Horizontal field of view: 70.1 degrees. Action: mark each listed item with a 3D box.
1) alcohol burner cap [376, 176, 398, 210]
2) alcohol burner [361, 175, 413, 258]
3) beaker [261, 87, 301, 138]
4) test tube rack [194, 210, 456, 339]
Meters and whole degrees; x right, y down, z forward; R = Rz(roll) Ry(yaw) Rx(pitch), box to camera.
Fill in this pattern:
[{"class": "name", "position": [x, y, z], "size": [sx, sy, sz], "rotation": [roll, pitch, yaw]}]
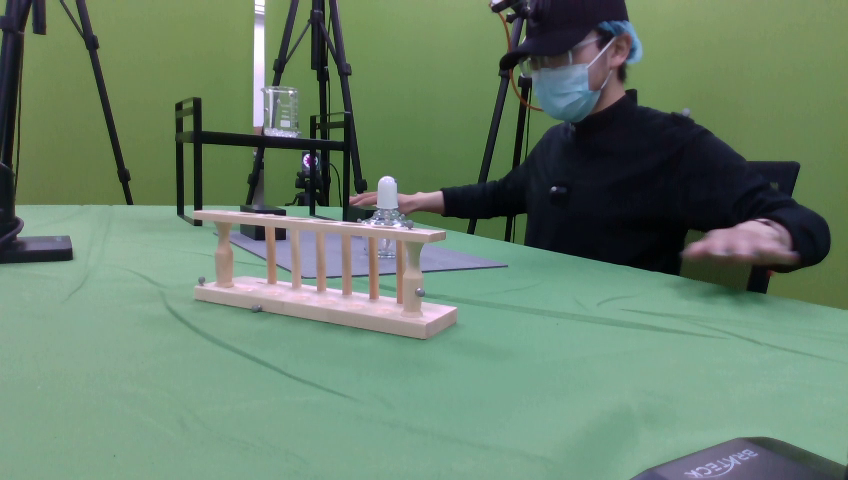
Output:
[{"class": "alcohol burner cap", "position": [-0.053, -0.069, 0.867], "size": [0.034, 0.048, 0.034], "rotation": [2, 13, 0]}, {"class": "alcohol burner", "position": [-0.054, -0.034, 0.871], "size": [0.078, 0.119, 0.078], "rotation": [1, 8, 0]}, {"class": "beaker", "position": [-0.298, -0.263, 1.255], "size": [0.084, 0.100, 0.073], "rotation": [-5, 10, -40]}, {"class": "test tube rack", "position": [-0.093, 0.023, 0.545], "size": [0.241, 0.085, 0.067], "rotation": [6, 8, 25]}]
